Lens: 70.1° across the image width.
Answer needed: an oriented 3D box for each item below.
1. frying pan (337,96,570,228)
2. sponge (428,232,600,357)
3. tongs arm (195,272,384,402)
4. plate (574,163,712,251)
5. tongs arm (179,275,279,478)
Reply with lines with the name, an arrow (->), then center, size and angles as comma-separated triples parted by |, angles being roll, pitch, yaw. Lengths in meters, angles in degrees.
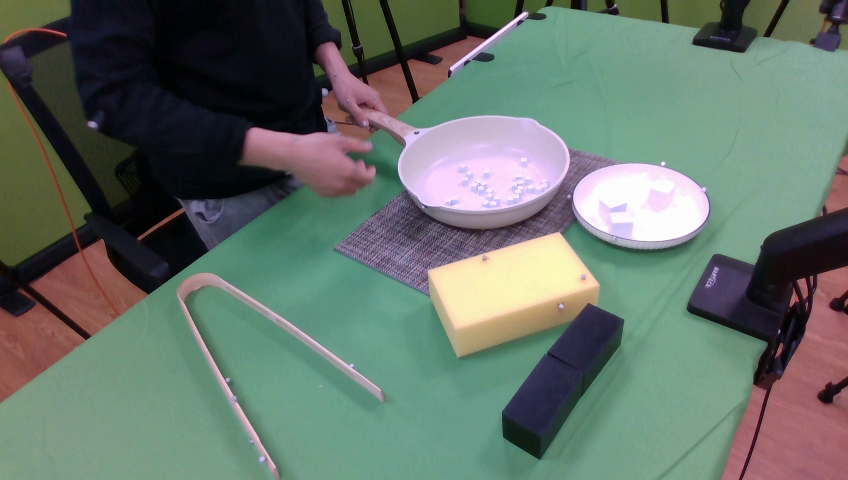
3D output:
frying pan -> 0.023, -0.167, 1.090 | 0.484, 0.103, 0.308 | 32, 52, 26
sponge -> 0.120, 0.071, 0.834 | 0.207, 0.061, 0.117 | -15, 43, -12
tongs arm -> -0.198, 0.125, 0.847 | 0.384, 0.028, 0.028 | 25, 53, 32
plate -> 0.344, -0.050, 0.966 | 0.207, 0.039, 0.206 | -4, 40, 4
tongs arm -> -0.260, 0.161, 0.807 | 0.051, 0.026, 0.381 | -29, 44, -25
